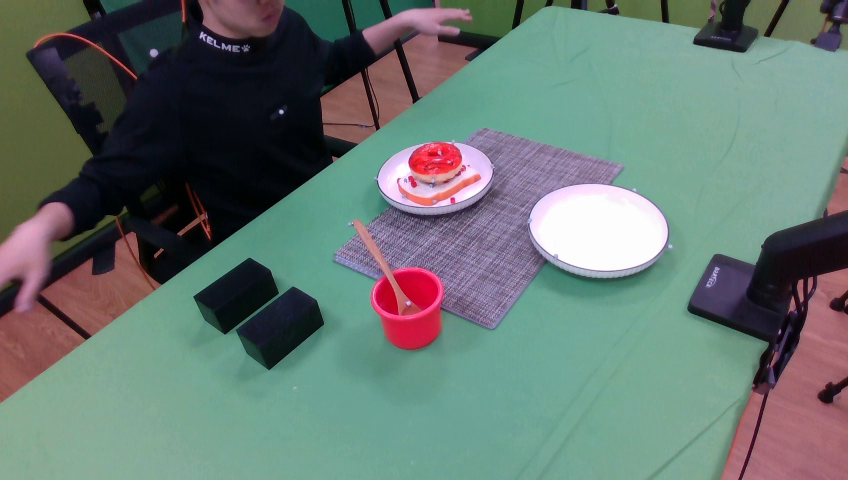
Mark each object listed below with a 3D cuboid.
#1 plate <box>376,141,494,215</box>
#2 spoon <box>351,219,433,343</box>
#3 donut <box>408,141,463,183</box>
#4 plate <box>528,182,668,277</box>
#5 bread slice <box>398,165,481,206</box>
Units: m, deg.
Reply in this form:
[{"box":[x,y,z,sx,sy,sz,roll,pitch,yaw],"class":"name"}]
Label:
[{"box":[0.021,-0.106,1.073,0.209,0.038,0.208,-4,40,4],"class":"plate"},{"box":[-0.045,0.054,0.820,0.042,0.021,0.193,-28,89,-21],"class":"spoon"},{"box":[0.020,-0.138,1.058,0.099,0.048,0.098,-4,39,4],"class":"donut"},{"box":[0.264,-0.014,0.933,0.207,0.039,0.206,-3,42,3],"class":"plate"},{"box":[0.021,-0.107,1.077,0.132,0.019,0.104,-32,46,-28],"class":"bread slice"}]
